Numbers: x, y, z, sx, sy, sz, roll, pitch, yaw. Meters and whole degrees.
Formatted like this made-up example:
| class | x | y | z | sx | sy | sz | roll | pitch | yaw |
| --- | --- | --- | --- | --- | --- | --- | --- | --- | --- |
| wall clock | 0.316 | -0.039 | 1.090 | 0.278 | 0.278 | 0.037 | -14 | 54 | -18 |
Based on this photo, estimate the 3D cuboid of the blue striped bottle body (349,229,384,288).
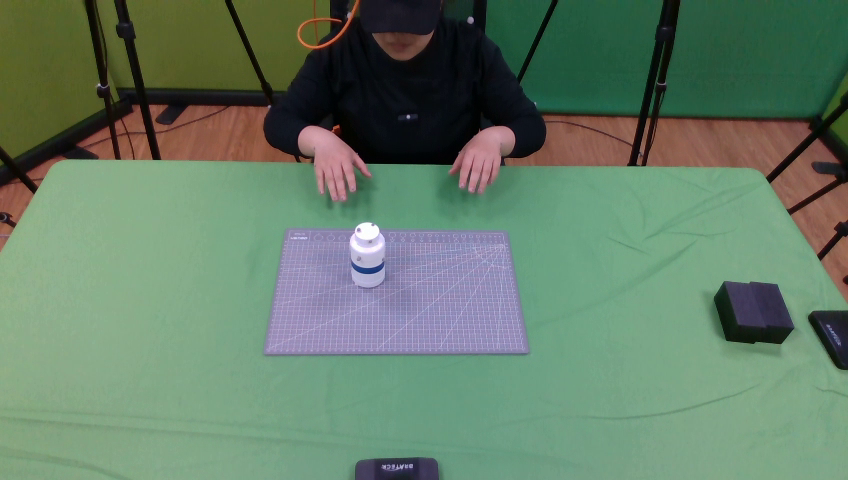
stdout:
| class | x | y | z | sx | sy | sz | roll | pitch | yaw |
| --- | --- | --- | --- | --- | --- | --- | --- | --- | --- |
| blue striped bottle body | -0.103 | 0.026 | 1.093 | 0.063 | 0.121 | 0.062 | 2 | 46 | -2 |

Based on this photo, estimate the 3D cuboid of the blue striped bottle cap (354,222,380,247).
| class | x | y | z | sx | sy | sz | roll | pitch | yaw |
| --- | --- | --- | --- | --- | --- | --- | --- | --- | --- |
| blue striped bottle cap | -0.100 | -0.009 | 1.057 | 0.044 | 0.021 | 0.044 | 2 | 46 | -1 |
